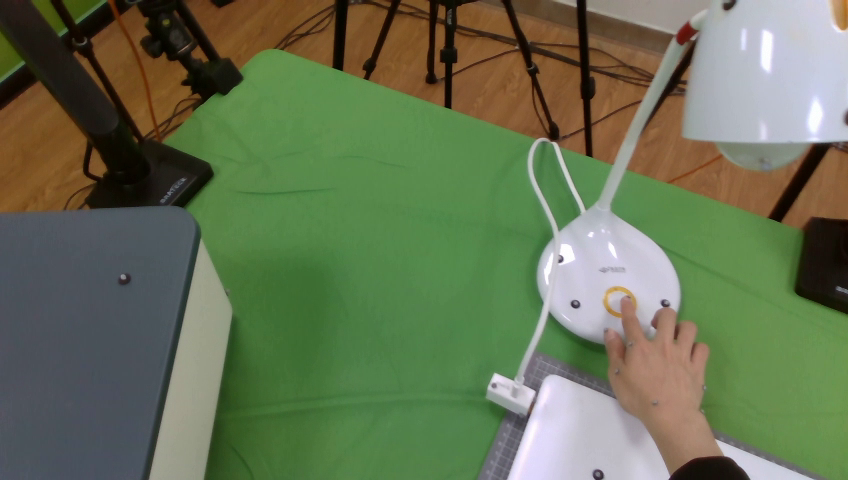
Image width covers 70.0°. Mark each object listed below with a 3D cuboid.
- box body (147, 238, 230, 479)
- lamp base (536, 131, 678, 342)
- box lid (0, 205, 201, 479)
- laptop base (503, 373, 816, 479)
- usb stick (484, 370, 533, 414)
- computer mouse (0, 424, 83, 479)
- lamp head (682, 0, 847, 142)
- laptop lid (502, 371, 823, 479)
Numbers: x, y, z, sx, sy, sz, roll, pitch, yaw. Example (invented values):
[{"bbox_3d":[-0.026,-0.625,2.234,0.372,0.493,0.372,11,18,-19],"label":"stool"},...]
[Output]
[{"bbox_3d":[-0.332,0.165,0.530,0.254,0.162,0.360,-1,55,-1],"label":"box body"},{"bbox_3d":[0.204,-0.011,0.637,0.161,0.182,0.177,-11,53,-7],"label":"lamp base"},{"bbox_3d":[-0.332,0.121,0.470,0.263,0.015,0.368,-1,56,-1],"label":"box lid"},{"bbox_3d":[0.234,0.284,0.533,0.353,0.023,0.234,20,61,14],"label":"laptop base"},{"bbox_3d":[0.091,0.155,0.606,0.059,0.027,0.021,25,54,13],"label":"usb stick"},{"bbox_3d":[-0.362,0.211,0.559,0.063,0.041,0.116,-27,19,-7],"label":"computer mouse"},{"bbox_3d":[0.220,-0.123,0.375,0.112,0.112,0.123,-4,99,-2],"label":"lamp head"},{"bbox_3d":[0.233,0.279,0.522,0.355,0.013,0.240,22,61,15],"label":"laptop lid"}]
